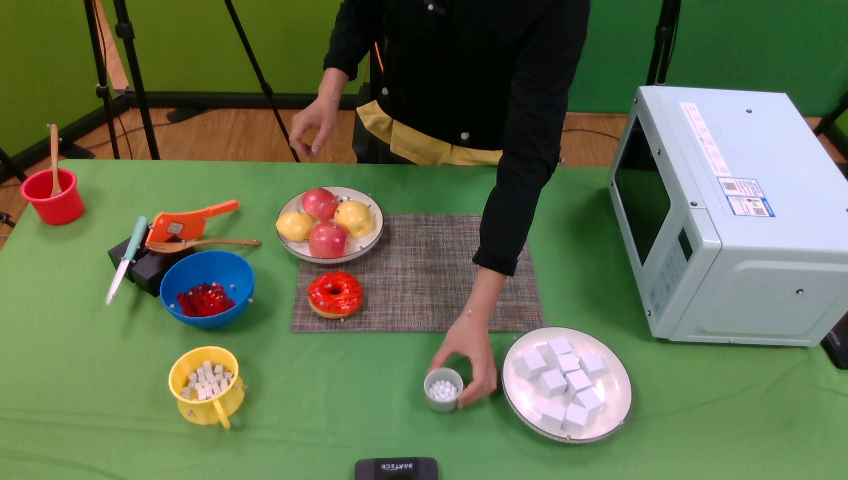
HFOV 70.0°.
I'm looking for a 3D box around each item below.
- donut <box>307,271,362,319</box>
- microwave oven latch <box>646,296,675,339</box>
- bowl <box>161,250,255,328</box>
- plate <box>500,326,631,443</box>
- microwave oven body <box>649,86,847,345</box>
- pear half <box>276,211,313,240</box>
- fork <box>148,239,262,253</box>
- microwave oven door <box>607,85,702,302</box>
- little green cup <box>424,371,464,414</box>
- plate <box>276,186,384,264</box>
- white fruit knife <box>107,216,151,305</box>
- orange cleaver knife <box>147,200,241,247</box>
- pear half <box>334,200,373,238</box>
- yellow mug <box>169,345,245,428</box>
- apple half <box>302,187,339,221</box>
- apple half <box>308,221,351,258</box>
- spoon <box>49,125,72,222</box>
[{"bbox_3d":[-0.157,0.097,1.072,0.099,0.048,0.098,4,45,-4],"label":"donut"},{"bbox_3d":[0.412,0.134,1.061,0.030,0.029,0.078,4,45,1],"label":"microwave oven latch"},{"bbox_3d":[-0.362,0.097,1.040,0.151,0.077,0.150,2,45,-2],"label":"bowl"},{"bbox_3d":[0.224,0.233,0.978,0.208,0.039,0.206,2,46,-2],"label":"plate"},{"bbox_3d":[0.568,-0.053,1.118,0.326,0.261,0.439,2,45,-1],"label":"microwave oven body"},{"bbox_3d":[-0.244,-0.035,1.179,0.070,0.031,0.088,42,39,2],"label":"pear half"},{"bbox_3d":[-0.398,0.008,1.117,0.208,0.019,0.028,-5,34,-37],"label":"fork"},{"bbox_3d":[0.423,-0.094,1.140,0.039,0.245,0.353,1,46,-1],"label":"microwave oven door"},{"bbox_3d":[0.031,0.241,0.949,0.061,0.039,0.061,-1,50,1],"label":"little green cup"},{"bbox_3d":[-0.184,-0.027,1.195,0.209,0.038,0.208,2,46,-2],"label":"plate"},{"bbox_3d":[-0.518,0.032,1.066,0.027,0.016,0.206,-18,45,19],"label":"white fruit knife"},{"bbox_3d":[-0.435,-0.033,1.157,0.012,0.077,0.211,31,26,19],"label":"orange cleaver knife"},{"bbox_3d":[-0.147,-0.059,1.210,0.076,0.056,0.109,-17,44,-25],"label":"pear half"},{"bbox_3d":[-0.322,0.230,0.922,0.100,0.064,0.130,-24,53,-25],"label":"yellow mug"},{"bbox_3d":[-0.204,-0.077,1.217,0.081,0.033,0.081,18,48,-21],"label":"apple half"},{"bbox_3d":[-0.180,-0.005,1.150,0.074,0.053,0.080,14,43,9],"label":"apple half"},{"bbox_3d":[-0.717,-0.132,1.188,0.042,0.021,0.193,-3,90,-7],"label":"spoon"}]
